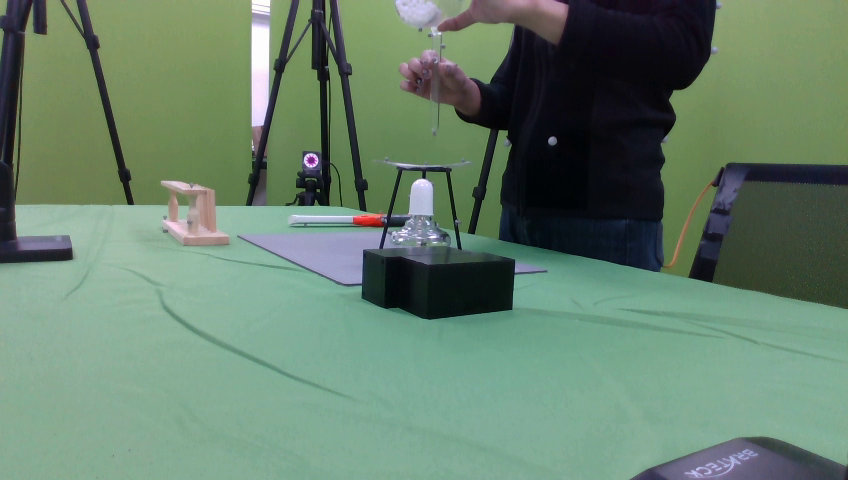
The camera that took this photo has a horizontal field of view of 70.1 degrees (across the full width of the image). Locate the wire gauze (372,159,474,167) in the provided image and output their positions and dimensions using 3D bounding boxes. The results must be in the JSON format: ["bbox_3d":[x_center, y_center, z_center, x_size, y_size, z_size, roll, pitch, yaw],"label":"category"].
[{"bbox_3d":[-0.004,-0.122,0.958,0.122,0.011,0.124,-4,9,-33],"label":"wire gauze"}]

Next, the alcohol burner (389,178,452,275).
[{"bbox_3d":[-0.004,-0.017,0.749,0.078,0.119,0.078,1,9,0],"label":"alcohol burner"}]

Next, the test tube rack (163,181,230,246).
[{"bbox_3d":[-0.387,-0.050,1.015,0.067,0.085,0.241,-2,9,-30],"label":"test tube rack"}]

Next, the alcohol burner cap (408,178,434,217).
[{"bbox_3d":[-0.003,-0.053,0.746,0.034,0.048,0.034,3,2,0],"label":"alcohol burner cap"}]

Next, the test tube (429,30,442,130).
[{"bbox_3d":[0.018,-0.246,0.939,0.017,0.150,0.017,1,23,0],"label":"test tube"}]

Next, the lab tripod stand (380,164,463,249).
[{"bbox_3d":[-0.003,-0.055,0.967,0.148,0.131,0.148,2,9,0],"label":"lab tripod stand"}]

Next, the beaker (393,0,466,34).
[{"bbox_3d":[0.006,-0.336,0.857,0.074,0.084,0.100,19,24,19],"label":"beaker"}]

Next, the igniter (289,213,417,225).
[{"bbox_3d":[-0.144,-0.044,1.275,0.278,0.025,0.057,-1,-2,-28],"label":"igniter"}]
